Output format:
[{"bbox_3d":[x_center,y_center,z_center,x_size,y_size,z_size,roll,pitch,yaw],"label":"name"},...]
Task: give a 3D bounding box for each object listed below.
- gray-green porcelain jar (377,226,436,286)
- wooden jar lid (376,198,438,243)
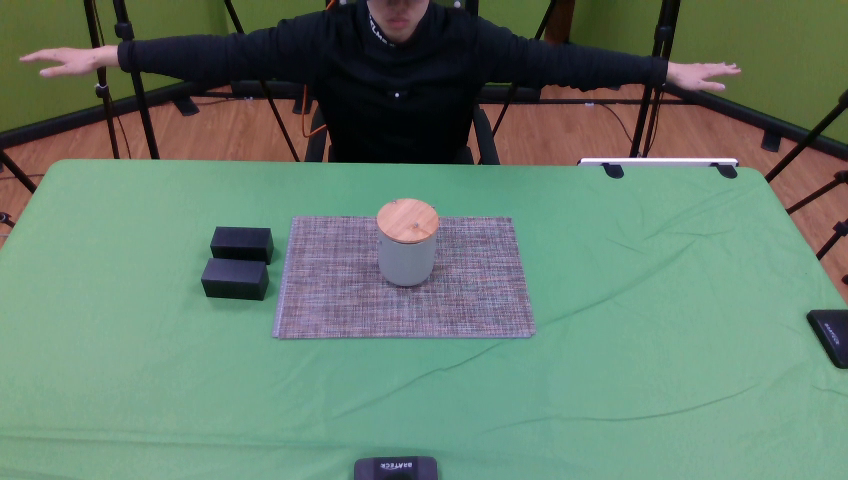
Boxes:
[{"bbox_3d":[-0.033,0.014,1.106,0.106,0.127,0.105,2,46,-2],"label":"gray-green porcelain jar"},{"bbox_3d":[-0.029,-0.031,1.059,0.108,0.021,0.107,2,45,-2],"label":"wooden jar lid"}]
